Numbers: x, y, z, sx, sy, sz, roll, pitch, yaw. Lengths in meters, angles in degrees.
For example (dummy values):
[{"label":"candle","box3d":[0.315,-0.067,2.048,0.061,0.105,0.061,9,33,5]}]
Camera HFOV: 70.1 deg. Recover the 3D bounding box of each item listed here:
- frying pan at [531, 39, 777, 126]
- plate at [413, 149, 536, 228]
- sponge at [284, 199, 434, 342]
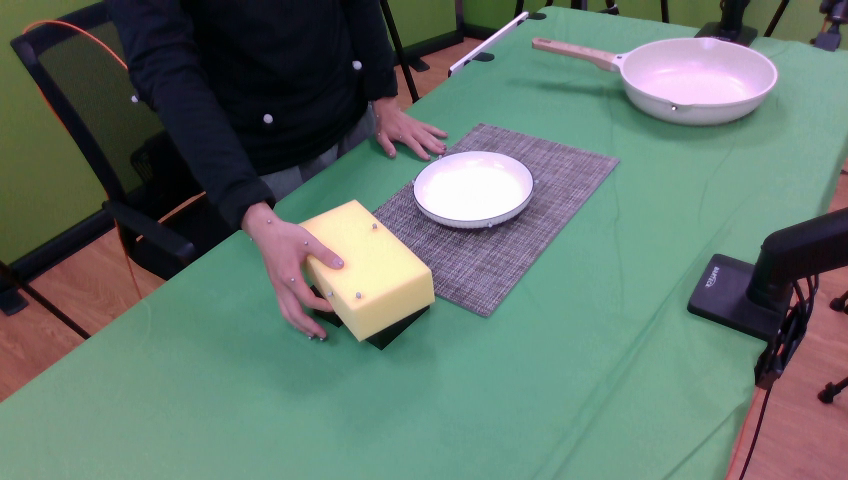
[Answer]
[{"label":"frying pan","box3d":[0.452,-0.354,1.254,0.485,0.103,0.307,22,47,19]},{"label":"plate","box3d":[0.086,-0.085,1.038,0.207,0.039,0.206,-4,40,4]},{"label":"sponge","box3d":[-0.093,0.034,0.835,0.119,0.061,0.205,-27,44,-23]}]
